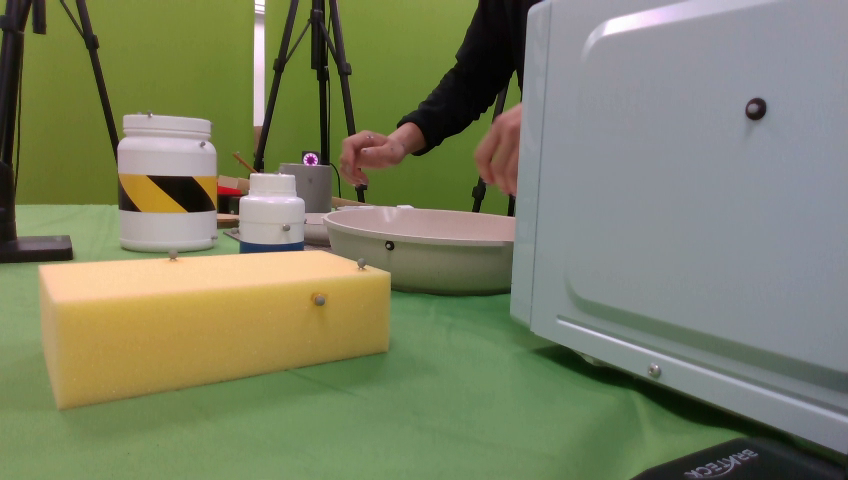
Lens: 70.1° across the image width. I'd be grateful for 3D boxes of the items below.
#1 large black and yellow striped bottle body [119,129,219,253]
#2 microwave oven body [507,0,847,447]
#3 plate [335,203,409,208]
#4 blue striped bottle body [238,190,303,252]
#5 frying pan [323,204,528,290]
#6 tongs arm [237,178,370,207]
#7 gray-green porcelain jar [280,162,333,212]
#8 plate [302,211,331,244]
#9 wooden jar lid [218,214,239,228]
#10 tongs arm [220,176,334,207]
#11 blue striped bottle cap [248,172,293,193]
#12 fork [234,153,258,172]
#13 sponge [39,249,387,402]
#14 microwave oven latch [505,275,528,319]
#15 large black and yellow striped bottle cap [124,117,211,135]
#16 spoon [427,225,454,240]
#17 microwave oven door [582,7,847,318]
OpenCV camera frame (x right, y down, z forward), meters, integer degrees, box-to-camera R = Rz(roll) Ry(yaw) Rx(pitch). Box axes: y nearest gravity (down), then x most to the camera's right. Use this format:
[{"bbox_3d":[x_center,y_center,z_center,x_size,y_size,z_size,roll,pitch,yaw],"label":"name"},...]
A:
[{"bbox_3d":[-0.367,-0.080,0.876,0.131,0.184,0.130,2,7,0],"label":"large black and yellow striped bottle body"},{"bbox_3d":[0.331,-0.042,0.425,0.444,0.260,0.324,-2,8,-31],"label":"microwave oven body"},{"bbox_3d":[-0.089,-0.053,1.309,0.208,0.039,0.207,2,8,0],"label":"plate"},{"bbox_3d":[-0.153,-0.007,0.606,0.063,0.120,0.063,2,7,0],"label":"blue striped bottle body"},{"bbox_3d":[0.110,-0.018,0.800,0.490,0.102,0.305,-12,16,-30],"label":"frying pan"},{"bbox_3d":[-0.242,-0.095,1.374,0.387,0.026,0.050,9,0,-37],"label":"tongs arm"},{"bbox_3d":[-0.238,-0.092,1.221,0.106,0.126,0.106,2,7,0],"label":"gray-green porcelain jar"},{"bbox_3d":[-0.139,-0.022,1.021,0.209,0.038,0.209,2,8,0],"label":"plate"},{"bbox_3d":[-0.404,-0.037,1.169,0.108,0.020,0.108,3,7,0],"label":"wooden jar lid"},{"bbox_3d":[-0.285,-0.104,1.445,0.389,0.027,0.028,9,-4,-23],"label":"tongs arm"},{"bbox_3d":[-0.152,-0.057,0.598,0.044,0.020,0.044,3,6,0],"label":"blue striped bottle cap"},{"bbox_3d":[-0.396,-0.143,1.486,0.028,0.018,0.208,20,-26,45],"label":"fork"},{"bbox_3d":[-0.142,0.047,0.420,0.208,0.061,0.117,-3,8,-36],"label":"sponge"},{"bbox_3d":[0.100,0.041,0.471,0.079,0.029,0.030,-2,8,-29],"label":"microwave oven latch"},{"bbox_3d":[-0.366,-0.163,0.866,0.115,0.019,0.115,3,7,0],"label":"large black and yellow striped bottle cap"},{"bbox_3d":[0.024,-0.019,1.125,0.042,0.021,0.193,-15,9,-5],"label":"spoon"},{"bbox_3d":[0.295,-0.067,0.569,0.358,0.243,0.039,-3,8,-31],"label":"microwave oven door"}]
